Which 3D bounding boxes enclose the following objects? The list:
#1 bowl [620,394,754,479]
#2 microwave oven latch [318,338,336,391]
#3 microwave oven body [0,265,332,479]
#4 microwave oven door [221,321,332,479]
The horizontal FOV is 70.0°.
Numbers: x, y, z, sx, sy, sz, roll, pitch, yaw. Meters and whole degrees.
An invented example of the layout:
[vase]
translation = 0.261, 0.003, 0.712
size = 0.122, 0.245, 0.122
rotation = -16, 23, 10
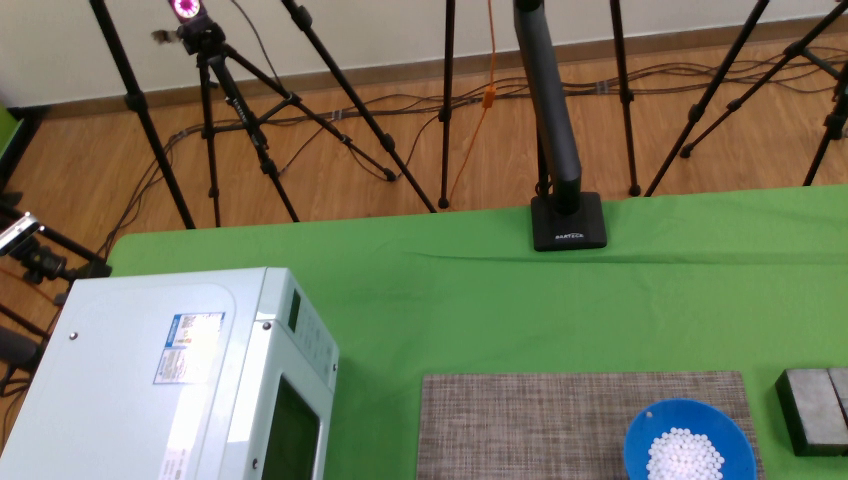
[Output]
[bowl]
translation = 0.318, 0.277, 0.753
size = 0.151, 0.077, 0.150
rotation = -6, 54, 8
[microwave oven latch]
translation = -0.151, 0.189, 0.920
size = 0.030, 0.030, 0.078
rotation = -4, 55, 8
[microwave oven body]
translation = -0.319, 0.287, 0.762
size = 0.325, 0.263, 0.437
rotation = -4, 55, 8
[microwave oven door]
translation = -0.178, 0.307, 0.713
size = 0.039, 0.246, 0.352
rotation = -5, 54, 9
